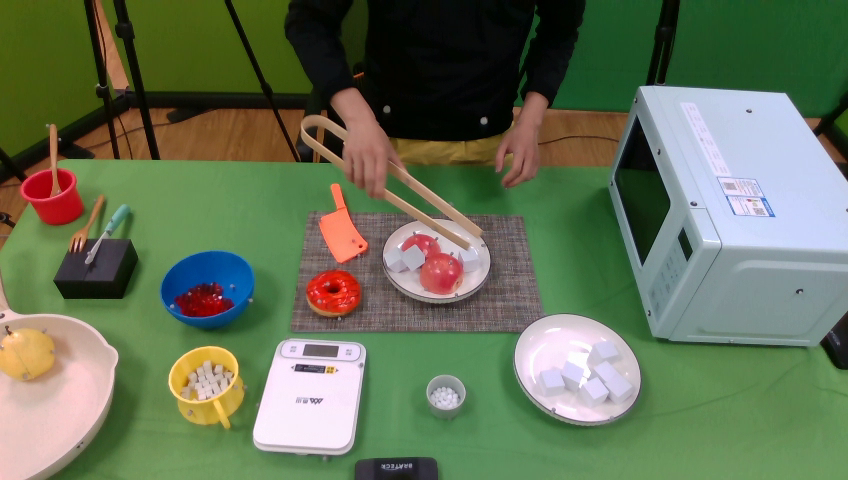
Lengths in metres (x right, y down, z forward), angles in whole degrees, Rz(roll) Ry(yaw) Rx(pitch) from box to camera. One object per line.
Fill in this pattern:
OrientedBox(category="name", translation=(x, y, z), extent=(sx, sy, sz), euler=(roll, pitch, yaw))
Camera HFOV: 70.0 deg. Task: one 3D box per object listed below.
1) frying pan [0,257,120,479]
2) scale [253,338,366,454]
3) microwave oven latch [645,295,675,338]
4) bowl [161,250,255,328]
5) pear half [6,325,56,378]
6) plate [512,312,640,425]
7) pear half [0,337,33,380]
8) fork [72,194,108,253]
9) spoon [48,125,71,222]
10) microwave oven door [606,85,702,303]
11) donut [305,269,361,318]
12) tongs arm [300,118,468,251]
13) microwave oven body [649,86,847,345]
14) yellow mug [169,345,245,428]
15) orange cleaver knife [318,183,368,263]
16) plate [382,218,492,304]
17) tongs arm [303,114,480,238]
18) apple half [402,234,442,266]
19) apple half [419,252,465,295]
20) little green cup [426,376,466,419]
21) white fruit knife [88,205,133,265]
OrientedBox(category="frying pan", translation=(-0.647, 0.164, 0.936), extent=(0.307, 0.103, 0.485), euler=(-19, 58, -22))
OrientedBox(category="scale", translation=(-0.175, 0.236, 0.951), extent=(0.149, 0.032, 0.199), euler=(4, 45, 0))
OrientedBox(category="microwave oven latch", translation=(0.411, 0.134, 1.061), extent=(0.030, 0.029, 0.078), euler=(3, 45, 0))
OrientedBox(category="bowl", translation=(-0.362, 0.098, 1.039), extent=(0.151, 0.077, 0.150), euler=(2, 45, -2))
OrientedBox(category="pear half", translation=(-0.608, 0.158, 0.935), extent=(0.076, 0.110, 0.056), euler=(31, 51, 20))
OrientedBox(category="plate", translation=(0.246, 0.213, 0.999), extent=(0.208, 0.039, 0.206), euler=(2, 46, -2))
OrientedBox(category="pear half", translation=(-0.631, 0.184, 0.921), extent=(0.070, 0.088, 0.031), euler=(29, 49, 19))
OrientedBox(category="fork", translation=(-0.634, -0.036, 1.158), extent=(0.028, 0.019, 0.206), euler=(-8, 32, -8))
OrientedBox(category="spoon", translation=(-0.718, -0.131, 1.188), extent=(0.041, 0.021, 0.193), euler=(-3, 90, -7))
OrientedBox(category="microwave oven door", translation=(0.423, -0.094, 1.140), extent=(0.039, 0.245, 0.353), euler=(2, 46, -1))
OrientedBox(category="donut", translation=(-0.160, 0.094, 1.075), extent=(0.099, 0.048, 0.098), euler=(3, 45, -3))
OrientedBox(category="tongs arm", translation=(-0.080, -0.098, 1.066), extent=(0.386, 0.028, 0.028), euler=(36, 61, 13))
OrientedBox(category="microwave oven body", translation=(0.567, -0.053, 1.118), extent=(0.326, 0.261, 0.439), euler=(2, 45, -1))
OrientedBox(category="yellow mug", translation=(-0.322, 0.230, 0.922), extent=(0.100, 0.064, 0.130), euler=(-24, 53, -25))
OrientedBox(category="orange cleaver knife", translation=(-0.173, -0.037, 1.218), extent=(0.077, 0.012, 0.210), euler=(-16, 51, -11))
OrientedBox(category="plate", translation=(0.023, 0.042, 1.143), extent=(0.209, 0.038, 0.208), euler=(2, 46, -2))
OrientedBox(category="tongs arm", translation=(-0.064, -0.115, 1.081), extent=(0.383, 0.026, 0.050), euler=(39, 59, 14))
OrientedBox(category="apple half", translation=(-0.004, 0.013, 1.159), extent=(0.081, 0.033, 0.081), euler=(5, 43, -5))
OrientedBox(category="apple half", translation=(0.035, 0.056, 1.109), extent=(0.074, 0.053, 0.081), euler=(37, 55, 24))
OrientedBox(category="little green cup", translation=(0.033, 0.248, 0.950), extent=(0.061, 0.039, 0.061), euler=(2, 46, -2))
OrientedBox(category="white fruit knife", translation=(-0.584, -0.013, 1.129), extent=(0.016, 0.027, 0.206), euler=(0, 32, -5))
